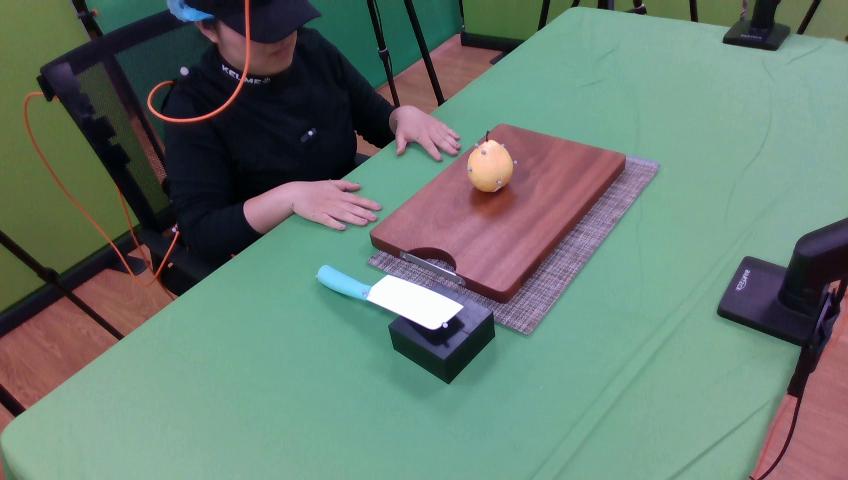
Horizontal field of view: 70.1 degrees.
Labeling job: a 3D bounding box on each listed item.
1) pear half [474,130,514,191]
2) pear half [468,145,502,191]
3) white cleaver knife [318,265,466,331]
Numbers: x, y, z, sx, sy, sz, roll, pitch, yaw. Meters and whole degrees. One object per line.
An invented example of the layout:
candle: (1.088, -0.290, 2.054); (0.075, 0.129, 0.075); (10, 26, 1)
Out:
pear half: (0.119, -0.142, 1.020); (0.076, 0.110, 0.056); (26, 51, 30)
pear half: (0.097, -0.116, 1.008); (0.070, 0.088, 0.031); (28, 53, 26)
white cleaver knife: (-0.056, 0.075, 0.871); (0.284, 0.021, 0.066); (17, 42, 43)
